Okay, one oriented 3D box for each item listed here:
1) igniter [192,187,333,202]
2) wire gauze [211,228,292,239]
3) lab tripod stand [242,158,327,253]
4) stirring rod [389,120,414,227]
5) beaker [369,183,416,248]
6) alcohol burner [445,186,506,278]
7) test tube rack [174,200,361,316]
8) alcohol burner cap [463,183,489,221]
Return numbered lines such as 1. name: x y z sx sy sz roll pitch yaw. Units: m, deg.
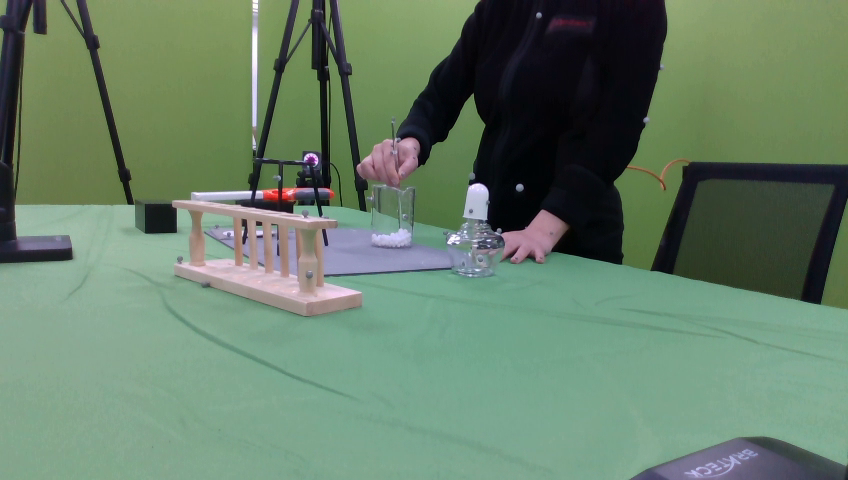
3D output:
1. igniter: -0.316 -0.090 1.214 0.278 0.025 0.057 -5 13 -31
2. wire gauze: -0.298 -0.013 1.039 0.122 0.011 0.124 -2 6 -27
3. lab tripod stand: -0.207 -0.054 0.895 0.148 0.131 0.148 3 5 0
4. stirring rod: -0.035 -0.105 0.972 0.014 0.176 0.006 4 21 39
5. beaker: -0.050 -0.039 0.971 0.074 0.100 0.083 -1 9 -25
6. alcohol burner: 0.066 -0.013 0.771 0.078 0.119 0.078 0 7 0
7. test tube rack: -0.169 0.009 0.622 0.241 0.085 0.067 9 9 41
8. alcohol burner cap: 0.067 -0.048 0.765 0.034 0.048 0.034 5 5 0
